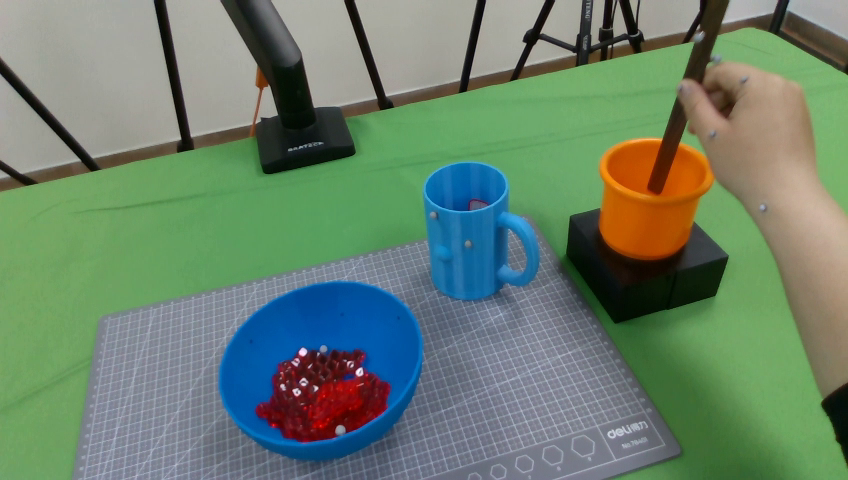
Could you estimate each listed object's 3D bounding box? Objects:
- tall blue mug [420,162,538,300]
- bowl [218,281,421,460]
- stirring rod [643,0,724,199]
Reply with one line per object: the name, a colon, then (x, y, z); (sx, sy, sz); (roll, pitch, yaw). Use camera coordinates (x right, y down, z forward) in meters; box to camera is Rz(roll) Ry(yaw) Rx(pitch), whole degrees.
tall blue mug: (0.054, -0.006, 0.563); (0.107, 0.109, 0.077); (5, 42, 12)
bowl: (-0.073, 0.111, 0.471); (0.151, 0.077, 0.150); (-3, 42, 3)
stirring rod: (0.196, -0.101, 0.467); (0.006, 0.178, 0.014); (-36, 55, -29)
